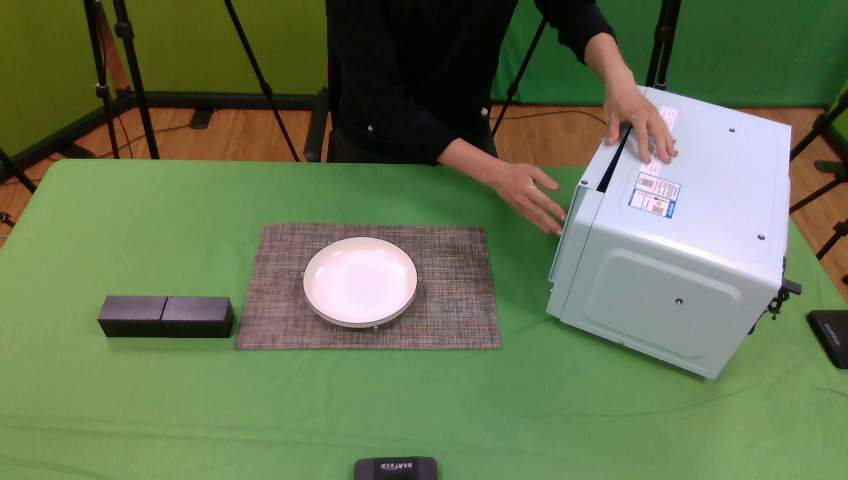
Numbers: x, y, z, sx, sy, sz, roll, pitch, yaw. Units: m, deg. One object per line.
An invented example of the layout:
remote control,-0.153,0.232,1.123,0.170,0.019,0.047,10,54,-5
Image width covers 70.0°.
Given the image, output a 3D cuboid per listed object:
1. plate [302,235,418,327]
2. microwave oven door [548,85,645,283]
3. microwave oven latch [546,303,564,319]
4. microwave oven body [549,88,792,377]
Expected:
plate,-0.114,0.077,1.098,0.208,0.039,0.206,2,46,-2
microwave oven door,0.334,-0.110,1.151,0.039,0.245,0.355,23,49,17
microwave oven latch,0.242,0.102,1.081,0.030,0.029,0.079,21,48,17
microwave oven body,0.456,-0.028,1.088,0.325,0.261,0.440,20,47,16
